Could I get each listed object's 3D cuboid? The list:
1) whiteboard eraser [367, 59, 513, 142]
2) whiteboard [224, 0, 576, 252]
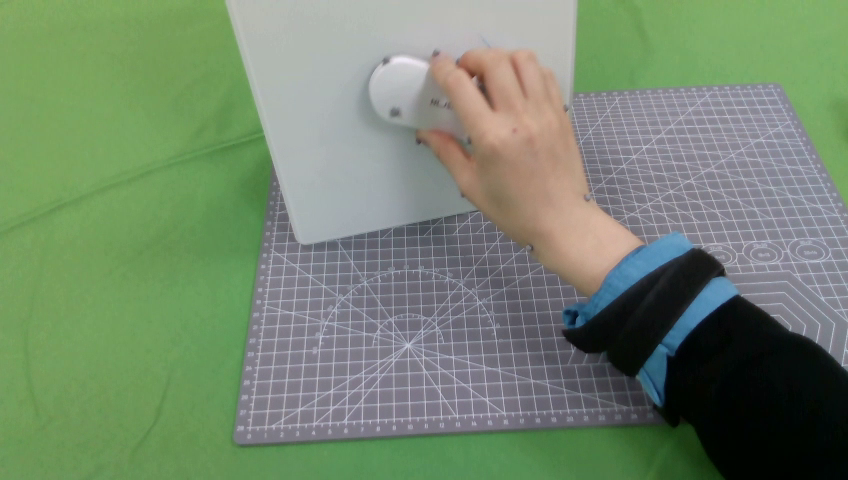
[{"bbox_3d":[0.012,-0.092,0.404,0.102,0.041,0.018,8,32,-21],"label":"whiteboard eraser"},{"bbox_3d":[-0.019,-0.174,0.429,0.217,0.308,0.142,-11,37,-5],"label":"whiteboard"}]
